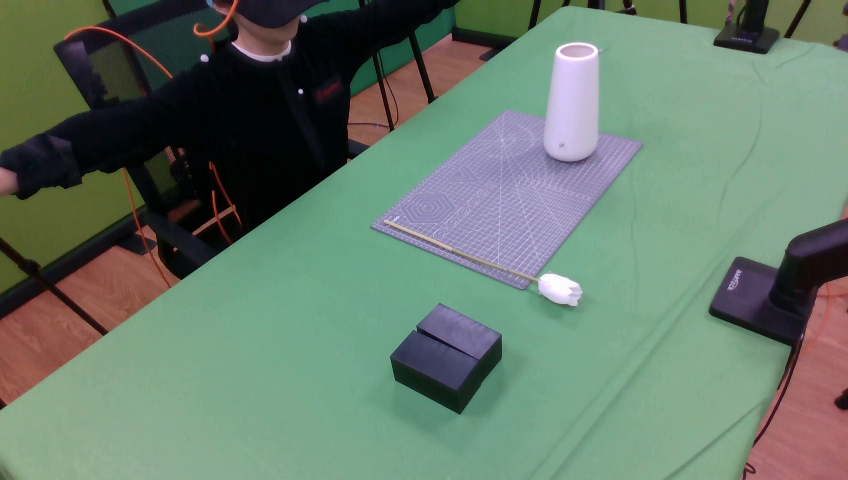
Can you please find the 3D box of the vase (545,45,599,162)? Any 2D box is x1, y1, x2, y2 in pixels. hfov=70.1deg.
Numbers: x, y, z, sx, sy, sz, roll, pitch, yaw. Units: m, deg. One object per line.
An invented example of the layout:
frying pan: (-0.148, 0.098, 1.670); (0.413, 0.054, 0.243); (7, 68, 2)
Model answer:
vase: (0.267, -0.238, 1.074); (0.098, 0.201, 0.097); (-4, 42, 4)

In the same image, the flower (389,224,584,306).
flower: (0.078, 0.026, 0.938); (0.358, 0.038, 0.044); (21, 15, 35)
